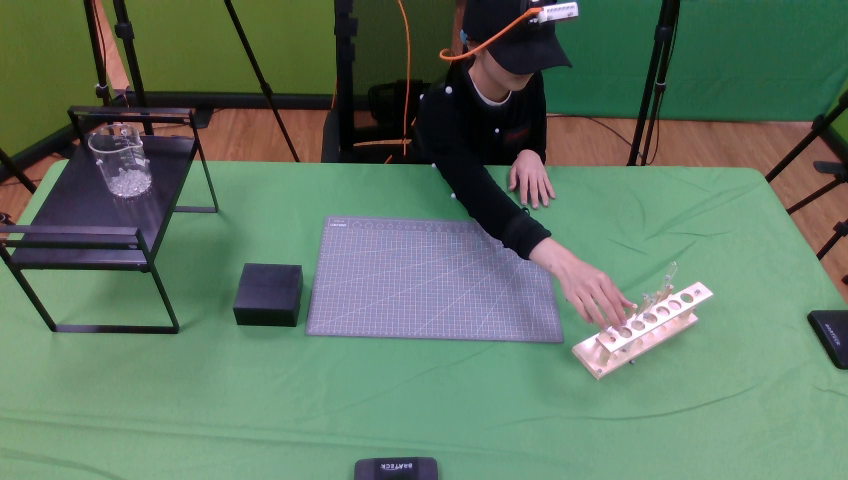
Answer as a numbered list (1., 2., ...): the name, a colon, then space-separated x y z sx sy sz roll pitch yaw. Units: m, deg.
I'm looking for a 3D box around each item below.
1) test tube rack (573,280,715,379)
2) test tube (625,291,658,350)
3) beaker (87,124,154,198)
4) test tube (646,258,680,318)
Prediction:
1. test tube rack: 0.378 0.140 1.038 0.242 0.085 0.066 -22 51 -23
2. test tube: 0.348 0.133 0.974 0.017 0.151 0.017 1 47 0
3. beaker: -0.482 -0.124 0.978 0.084 0.101 0.073 9 46 4
4. test tube: 0.406 0.084 1.032 0.017 0.151 0.017 1 47 -1
